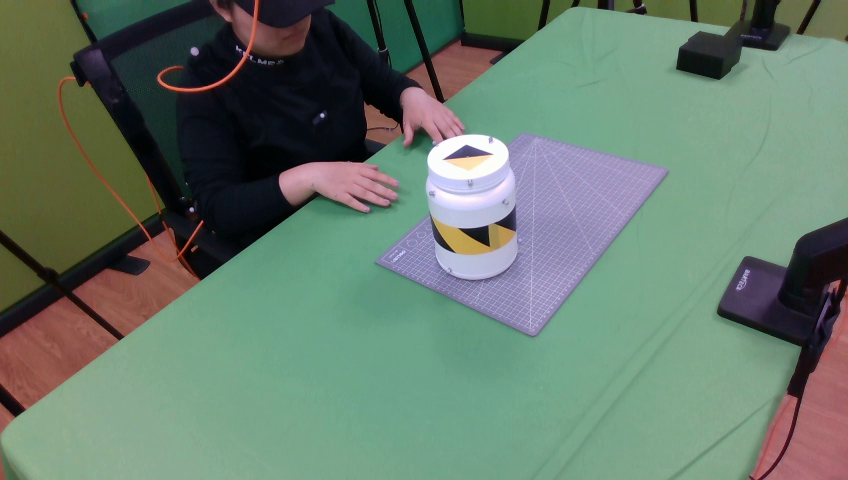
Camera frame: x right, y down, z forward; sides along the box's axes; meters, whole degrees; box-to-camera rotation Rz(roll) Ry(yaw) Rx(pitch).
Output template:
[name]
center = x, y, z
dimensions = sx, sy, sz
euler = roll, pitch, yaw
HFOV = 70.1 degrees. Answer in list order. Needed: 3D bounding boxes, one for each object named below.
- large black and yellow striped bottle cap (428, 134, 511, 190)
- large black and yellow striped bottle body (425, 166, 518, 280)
[large black and yellow striped bottle cap]
center = 0.062, -0.111, 0.840
dimensions = 0.115, 0.019, 0.114
euler = -5, 41, 5
[large black and yellow striped bottle body]
center = 0.072, -0.047, 0.894
dimensions = 0.131, 0.185, 0.130
euler = -5, 40, 5
